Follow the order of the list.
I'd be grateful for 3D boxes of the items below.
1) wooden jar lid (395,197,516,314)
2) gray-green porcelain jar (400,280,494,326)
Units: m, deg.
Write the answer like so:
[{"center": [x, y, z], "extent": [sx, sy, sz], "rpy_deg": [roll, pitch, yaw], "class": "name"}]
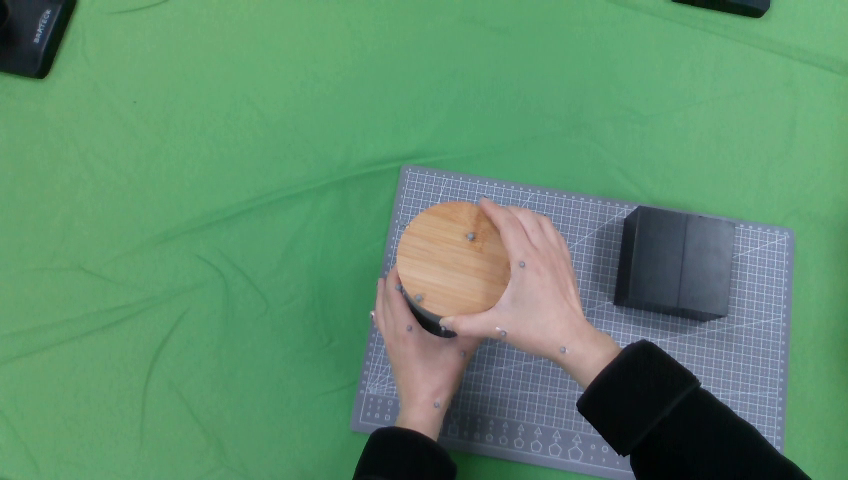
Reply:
[{"center": [0.028, 0.015, 0.546], "extent": [0.108, 0.021, 0.108], "rpy_deg": [0, 75, 2], "class": "wooden jar lid"}, {"center": [0.028, 0.030, 0.606], "extent": [0.106, 0.127, 0.105], "rpy_deg": [0, 77, -1], "class": "gray-green porcelain jar"}]
